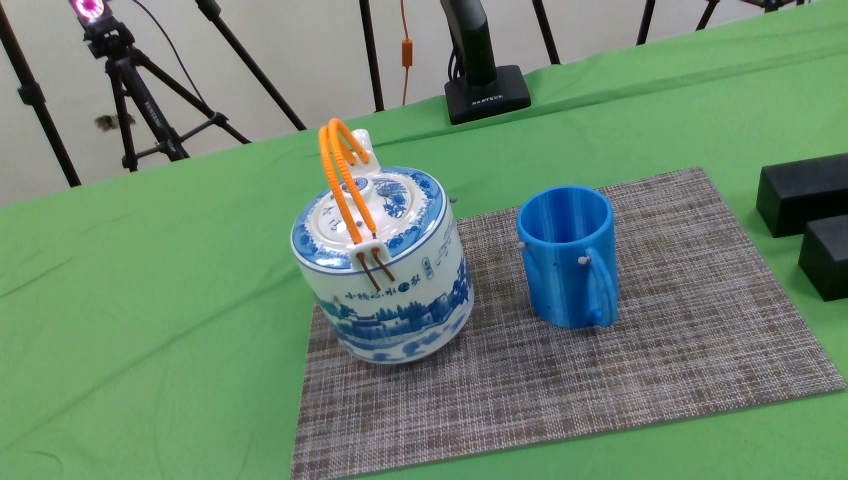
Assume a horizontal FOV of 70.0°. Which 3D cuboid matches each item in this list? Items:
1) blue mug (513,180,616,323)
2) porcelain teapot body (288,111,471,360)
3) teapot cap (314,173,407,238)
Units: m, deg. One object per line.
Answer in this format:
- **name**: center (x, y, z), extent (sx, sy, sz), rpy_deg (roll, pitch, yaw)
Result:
- **blue mug**: center (0.135, 0.020, 0.541), extent (0.082, 0.107, 0.115), rpy_deg (-24, 41, -5)
- **porcelain teapot body**: center (-0.050, -0.023, 0.567), extent (0.145, 0.228, 0.203), rpy_deg (-17, 40, 2)
- **teapot cap**: center (-0.056, -0.035, 0.520), extent (0.085, 0.044, 0.084), rpy_deg (-9, 39, 8)
